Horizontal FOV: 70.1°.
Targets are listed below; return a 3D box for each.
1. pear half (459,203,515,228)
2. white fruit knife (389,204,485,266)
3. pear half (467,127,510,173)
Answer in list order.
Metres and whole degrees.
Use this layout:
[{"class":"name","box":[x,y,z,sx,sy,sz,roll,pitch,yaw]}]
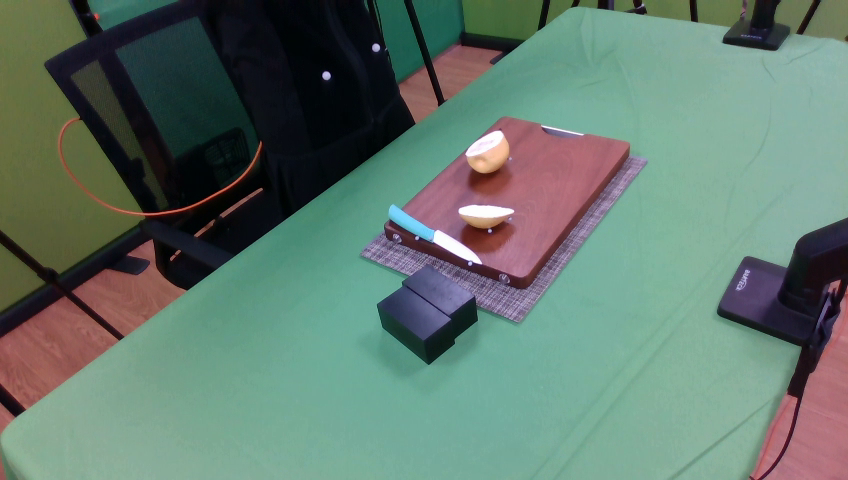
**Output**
[{"class":"pear half","box":[0.098,-0.036,0.953,0.088,0.031,0.070,4,25,-4]},{"class":"white fruit knife","box":[0.015,-0.007,0.950,0.205,0.016,0.027,30,69,34]},{"class":"pear half","box":[0.124,-0.162,1.079,0.076,0.056,0.110,-1,40,38]}]
